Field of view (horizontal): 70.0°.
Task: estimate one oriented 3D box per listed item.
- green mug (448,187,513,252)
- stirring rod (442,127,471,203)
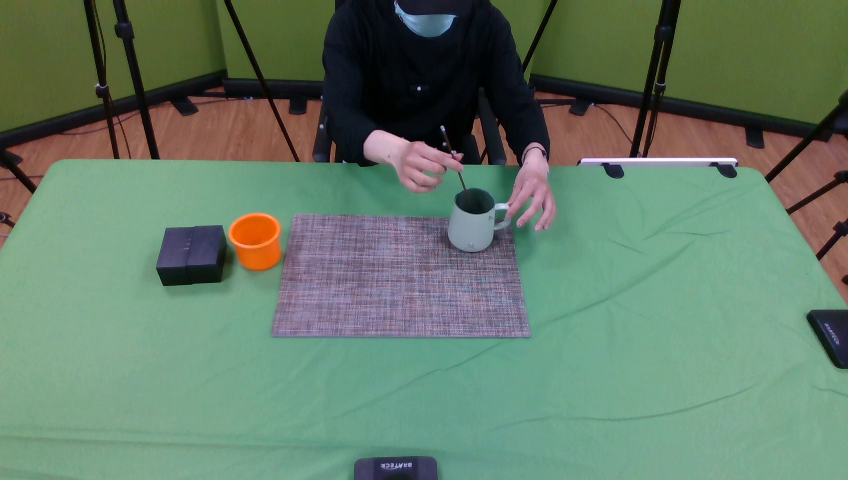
[{"bbox_3d":[0.112,-0.041,1.179,0.125,0.105,0.092,-7,47,-10],"label":"green mug"},{"bbox_3d":[0.059,-0.132,1.087,0.006,0.177,0.014,-22,43,3],"label":"stirring rod"}]
